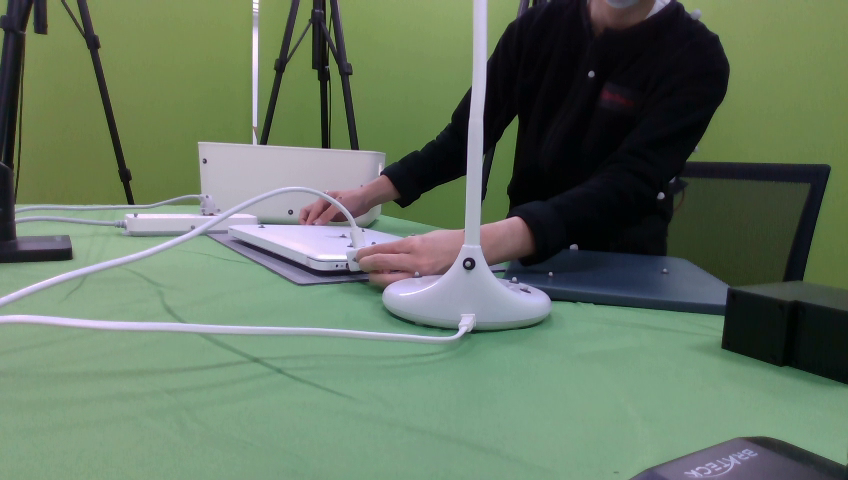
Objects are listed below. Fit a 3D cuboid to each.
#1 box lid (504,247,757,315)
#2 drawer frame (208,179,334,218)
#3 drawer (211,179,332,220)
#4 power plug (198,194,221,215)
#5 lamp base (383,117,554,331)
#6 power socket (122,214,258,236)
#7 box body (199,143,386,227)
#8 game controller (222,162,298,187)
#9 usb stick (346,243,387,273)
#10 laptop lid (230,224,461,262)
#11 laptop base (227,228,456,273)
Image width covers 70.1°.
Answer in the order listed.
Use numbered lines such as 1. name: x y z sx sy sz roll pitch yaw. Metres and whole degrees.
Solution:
1. box lid: 0.244 0.044 0.793 0.263 0.015 0.372 4 6 11
2. drawer frame: -0.327 -0.093 1.328 0.213 0.082 0.202 0 5 6
3. drawer: -0.328 -0.095 1.332 0.212 0.073 0.194 5 8 6
4. power plug: -0.387 -0.055 1.089 0.035 0.052 0.072 -1 7 -22
5. lamp base: 0.045 -0.019 0.547 0.161 0.180 0.179 2 10 -4
6. power socket: -0.399 -0.028 1.049 0.228 0.032 0.072 -3 8 -34
7. box body: -0.276 -0.124 1.335 0.364 0.160 0.254 3 7 1
8. game controller: -0.357 -0.143 1.322 0.156 0.051 0.097 1 3 -16
9. usb stick: -0.069 0.022 0.682 0.021 0.027 0.059 -23 3 -39
10. laptop lid: -0.120 0.000 0.889 0.243 0.013 0.355 1 7 -33
11. laptop base: -0.122 0.012 0.889 0.237 0.023 0.352 1 7 -35
